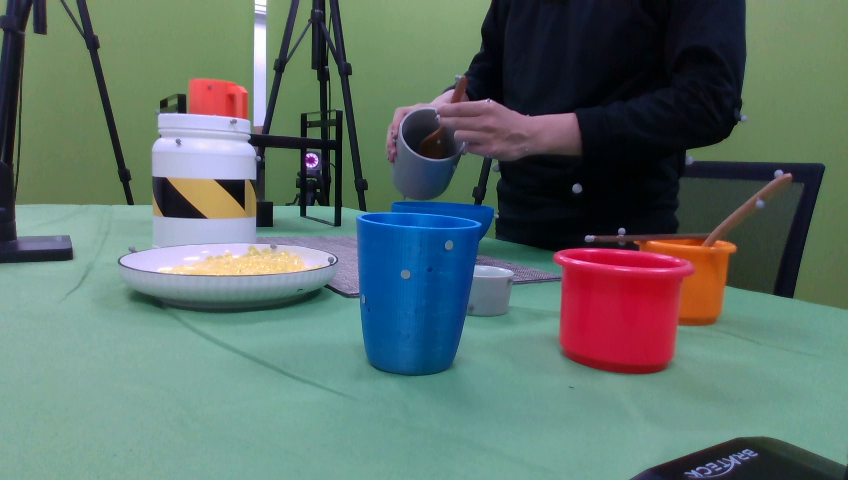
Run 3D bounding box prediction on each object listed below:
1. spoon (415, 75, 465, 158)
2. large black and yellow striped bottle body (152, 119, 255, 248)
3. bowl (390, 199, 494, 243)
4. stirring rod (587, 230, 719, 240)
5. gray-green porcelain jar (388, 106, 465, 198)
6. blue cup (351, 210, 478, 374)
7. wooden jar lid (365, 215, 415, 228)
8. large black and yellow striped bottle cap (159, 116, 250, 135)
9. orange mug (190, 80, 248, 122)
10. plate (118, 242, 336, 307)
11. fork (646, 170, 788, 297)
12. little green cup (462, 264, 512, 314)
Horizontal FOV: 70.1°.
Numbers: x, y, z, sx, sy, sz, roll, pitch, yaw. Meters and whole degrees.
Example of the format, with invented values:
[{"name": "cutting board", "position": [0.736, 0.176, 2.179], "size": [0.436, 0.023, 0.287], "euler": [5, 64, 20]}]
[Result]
[{"name": "spoon", "position": [0.028, -0.178, 0.905], "size": [0.042, 0.021, 0.193], "euler": [10, -26, -13]}, {"name": "large black and yellow striped bottle body", "position": [-0.296, -0.070, 0.819], "size": [0.131, 0.184, 0.130], "euler": [2, 7, 0]}, {"name": "bowl", "position": [0.024, -0.015, 0.871], "size": [0.151, 0.077, 0.151], "euler": [2, 8, 0]}, {"name": "stirring rod", "position": [0.226, -0.005, 0.587], "size": [0.177, 0.006, 0.014], "euler": [-2, 10, -29]}, {"name": "gray-green porcelain jar", "position": [0.000, -0.135, 0.975], "size": [0.106, 0.105, 0.126], "euler": [0, -28, -13]}, {"name": "blue cup", "position": [-0.009, 0.034, 0.414], "size": [0.093, 0.100, 0.092], "euler": [4, 8, 0]}, {"name": "wooden jar lid", "position": [-0.072, -0.040, 1.291], "size": [0.108, 0.020, 0.108], "euler": [3, 8, 0]}, {"name": "large black and yellow striped bottle cap", "position": [-0.292, -0.153, 0.810], "size": [0.115, 0.019, 0.115], "euler": [3, 8, 0]}, {"name": "orange mug", "position": [-0.394, -0.257, 1.172], "size": [0.126, 0.100, 0.084], "euler": [1, 6, 25]}, {"name": "plate", "position": [-0.194, 0.033, 0.615], "size": [0.209, 0.038, 0.209], "euler": [2, 7, 0]}, {"name": "fork", "position": [0.256, 0.004, 0.543], "size": [0.028, 0.018, 0.207], "euler": [3, -36, -9]}, {"name": "little green cup", "position": [0.053, 0.047, 0.580], "size": [0.061, 0.038, 0.061], "euler": [3, 8, 0]}]
